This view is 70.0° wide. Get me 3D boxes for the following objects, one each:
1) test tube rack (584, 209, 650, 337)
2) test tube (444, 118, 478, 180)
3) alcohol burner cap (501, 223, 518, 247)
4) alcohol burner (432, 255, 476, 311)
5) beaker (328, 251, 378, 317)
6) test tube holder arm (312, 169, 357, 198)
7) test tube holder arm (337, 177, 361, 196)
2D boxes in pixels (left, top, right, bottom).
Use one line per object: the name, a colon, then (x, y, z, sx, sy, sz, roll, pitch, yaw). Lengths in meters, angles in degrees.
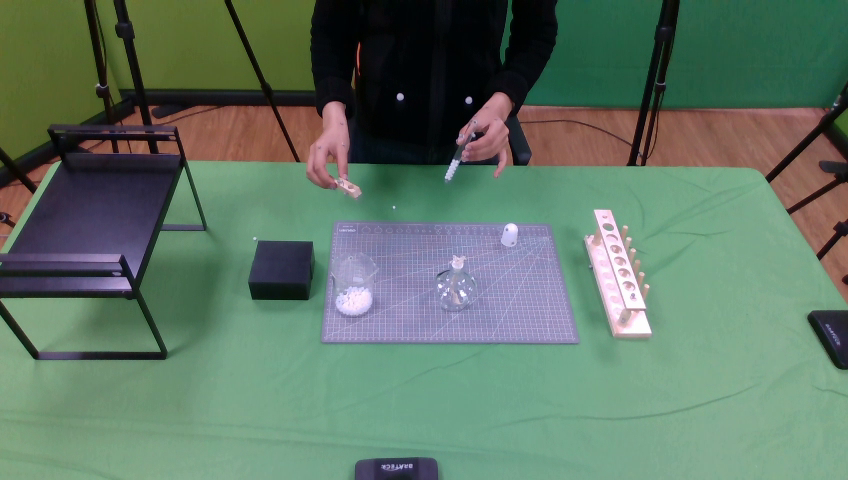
test tube rack: (0.365, 0.056, 1.129, 0.067, 0.085, 0.240, 1, 46, -3)
test tube: (0.065, -0.162, 1.107, 0.017, 0.151, 0.017, 11, 50, -13)
alcohol burner cap: (0.172, -0.013, 1.206, 0.034, 0.048, 0.033, 1, 45, -1)
alcohol burner: (0.055, 0.070, 1.068, 0.078, 0.119, 0.077, 3, 45, -3)
beaker: (-0.123, 0.079, 1.055, 0.084, 0.101, 0.073, 0, 47, -5)
test tube holder arm: (-0.168, -0.107, 1.117, 0.013, 0.015, 0.177, -30, 32, -24)
test tube holder arm: (-0.138, -0.097, 1.085, 0.010, 0.015, 0.087, -29, 32, -23)
